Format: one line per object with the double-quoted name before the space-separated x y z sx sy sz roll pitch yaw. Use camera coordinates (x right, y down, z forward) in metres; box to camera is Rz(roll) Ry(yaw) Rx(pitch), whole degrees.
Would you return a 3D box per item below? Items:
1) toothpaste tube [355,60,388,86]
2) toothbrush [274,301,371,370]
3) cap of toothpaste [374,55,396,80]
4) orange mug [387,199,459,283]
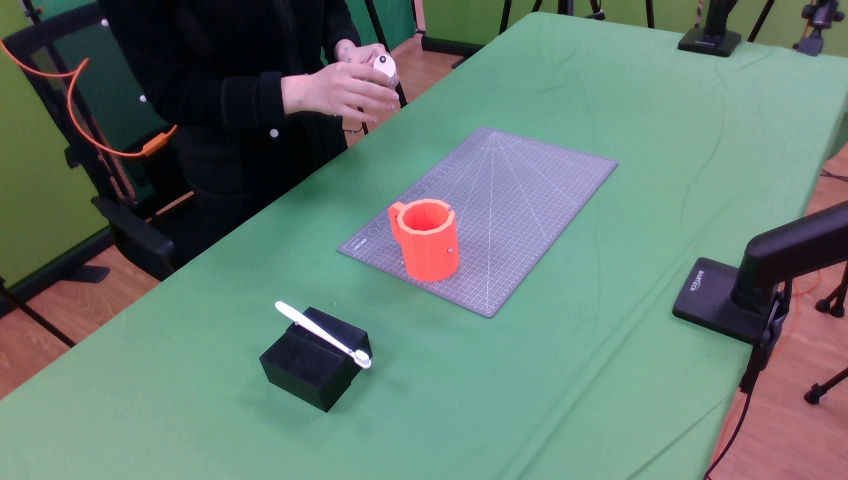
"toothpaste tube" -0.076 -0.264 0.975 0.055 0.034 0.164 1 6 -13
"toothbrush" -0.135 0.119 0.783 0.180 0.017 0.014 25 53 33
"cap of toothpaste" -0.059 -0.254 0.894 0.037 0.037 0.011 -27 25 -21
"orange mug" -0.006 -0.007 0.923 0.125 0.101 0.084 32 54 32
